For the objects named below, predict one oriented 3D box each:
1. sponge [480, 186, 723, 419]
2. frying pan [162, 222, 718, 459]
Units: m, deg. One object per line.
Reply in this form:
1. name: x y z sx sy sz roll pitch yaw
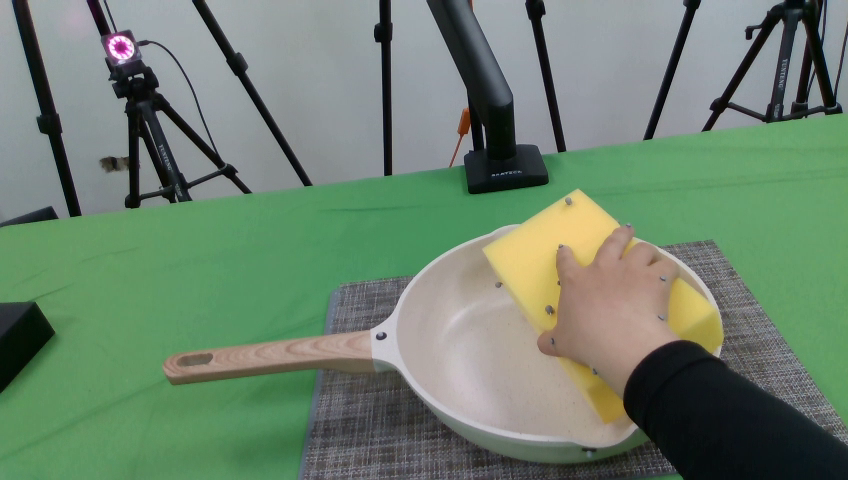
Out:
1. sponge: 0.150 0.046 0.555 0.118 0.061 0.204 -33 37 1
2. frying pan: 0.011 0.092 0.563 0.488 0.103 0.303 -3 32 -5
